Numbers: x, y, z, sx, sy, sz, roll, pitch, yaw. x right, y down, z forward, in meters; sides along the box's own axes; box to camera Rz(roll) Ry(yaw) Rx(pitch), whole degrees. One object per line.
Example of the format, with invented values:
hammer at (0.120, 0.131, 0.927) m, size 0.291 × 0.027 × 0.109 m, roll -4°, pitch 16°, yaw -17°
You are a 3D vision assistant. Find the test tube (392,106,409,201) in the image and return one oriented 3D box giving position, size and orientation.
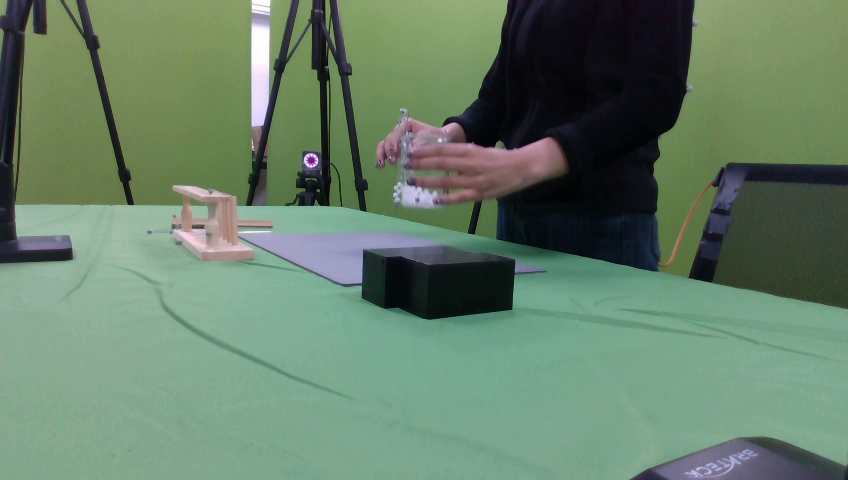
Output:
test tube at (-0.037, -0.135, 0.957) m, size 0.017 × 0.150 × 0.017 m, roll 5°, pitch 14°, yaw -1°

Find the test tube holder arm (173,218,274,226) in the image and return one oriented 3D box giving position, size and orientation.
test tube holder arm at (-0.371, -0.033, 1.128) m, size 0.179 × 0.015 × 0.013 m, roll -1°, pitch -21°, yaw -25°

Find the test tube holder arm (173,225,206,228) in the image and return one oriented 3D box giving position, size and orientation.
test tube holder arm at (-0.414, -0.030, 1.113) m, size 0.088 × 0.015 × 0.010 m, roll -1°, pitch -21°, yaw -25°

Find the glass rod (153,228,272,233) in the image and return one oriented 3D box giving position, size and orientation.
glass rod at (-0.368, -0.017, 1.065) m, size 0.201 × 0.008 × 0.008 m, roll -2°, pitch 8°, yaw -27°

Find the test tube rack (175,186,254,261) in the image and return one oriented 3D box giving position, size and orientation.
test tube rack at (-0.314, -0.031, 0.889) m, size 0.067 × 0.085 × 0.241 m, roll -2°, pitch 8°, yaw -30°

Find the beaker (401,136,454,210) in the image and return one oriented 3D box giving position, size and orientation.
beaker at (0.001, -0.094, 0.863) m, size 0.074 × 0.100 × 0.083 m, roll -1°, pitch 5°, yaw -25°
